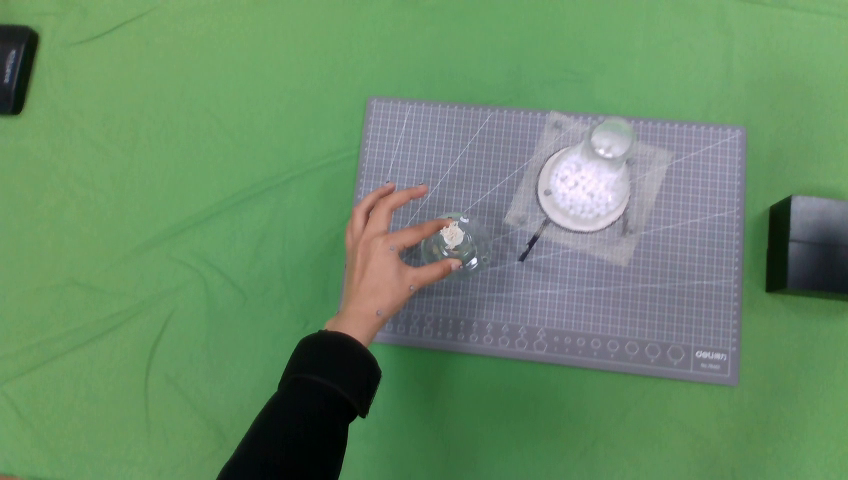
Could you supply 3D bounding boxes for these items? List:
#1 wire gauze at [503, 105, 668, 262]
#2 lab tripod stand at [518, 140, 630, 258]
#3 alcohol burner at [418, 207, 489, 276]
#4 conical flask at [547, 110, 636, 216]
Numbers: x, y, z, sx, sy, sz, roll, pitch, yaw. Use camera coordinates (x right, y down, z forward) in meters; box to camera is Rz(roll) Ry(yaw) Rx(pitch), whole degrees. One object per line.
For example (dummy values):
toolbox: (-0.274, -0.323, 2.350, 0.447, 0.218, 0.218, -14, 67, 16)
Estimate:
wire gauze: (0.154, -0.055, 0.574, 0.121, 0.011, 0.125, 23, 80, 7)
lab tripod stand: (0.154, -0.045, 0.640, 0.148, 0.132, 0.148, -1, 79, 6)
alcohol burner: (0.031, -0.001, 0.650, 0.078, 0.119, 0.077, -1, 81, 4)
conical flask: (0.148, -0.069, 0.517, 0.075, 0.122, 0.075, -1, 79, 5)
